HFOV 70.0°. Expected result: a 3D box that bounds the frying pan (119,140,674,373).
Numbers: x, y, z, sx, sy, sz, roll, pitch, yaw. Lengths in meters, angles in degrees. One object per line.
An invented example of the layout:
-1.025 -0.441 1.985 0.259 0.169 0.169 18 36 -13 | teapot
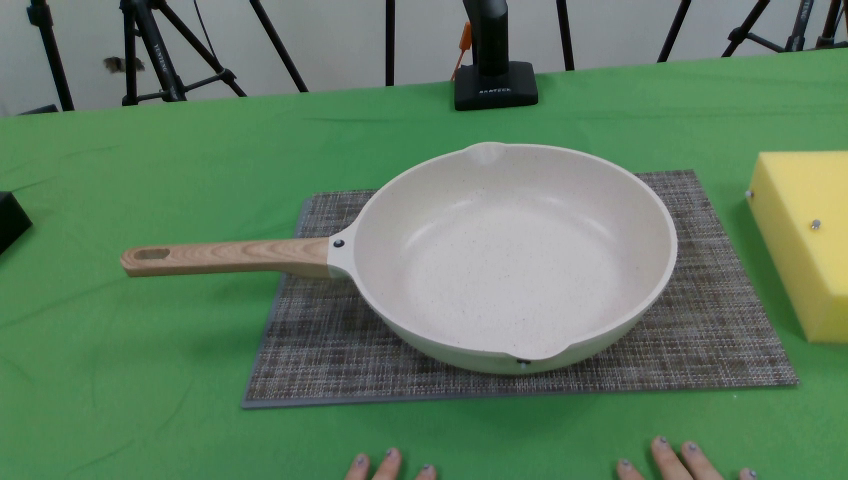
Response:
-0.028 0.011 0.562 0.488 0.103 0.303 0 39 -3 | frying pan

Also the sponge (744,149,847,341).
0.386 -0.003 0.550 0.118 0.061 0.205 0 40 9 | sponge
